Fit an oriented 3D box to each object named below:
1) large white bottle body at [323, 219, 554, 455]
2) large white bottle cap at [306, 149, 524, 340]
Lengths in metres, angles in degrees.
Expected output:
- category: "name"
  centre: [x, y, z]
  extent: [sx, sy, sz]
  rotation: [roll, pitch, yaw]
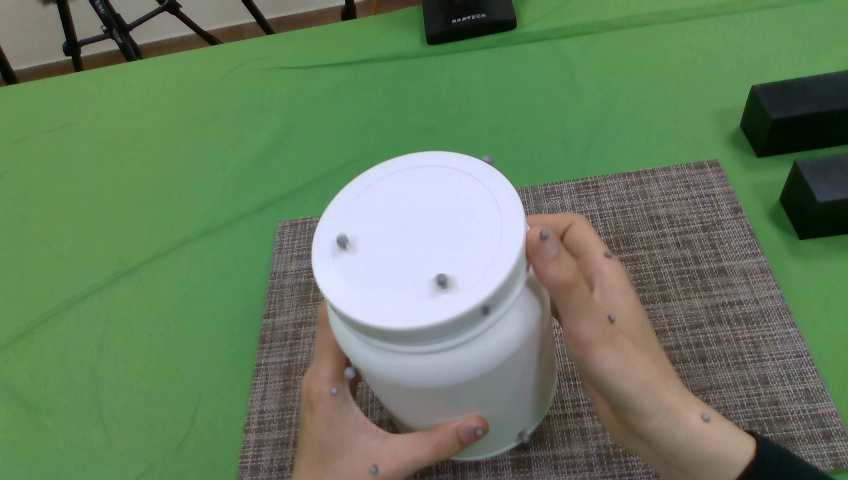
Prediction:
- category: "large white bottle body"
  centre: [0.014, 0.049, 0.388]
  extent: [0.130, 0.186, 0.129]
  rotation: [-7, 54, 10]
- category: "large white bottle cap"
  centre: [-0.005, -0.002, 0.318]
  extent: [0.114, 0.018, 0.113]
  rotation: [-7, 53, 10]
